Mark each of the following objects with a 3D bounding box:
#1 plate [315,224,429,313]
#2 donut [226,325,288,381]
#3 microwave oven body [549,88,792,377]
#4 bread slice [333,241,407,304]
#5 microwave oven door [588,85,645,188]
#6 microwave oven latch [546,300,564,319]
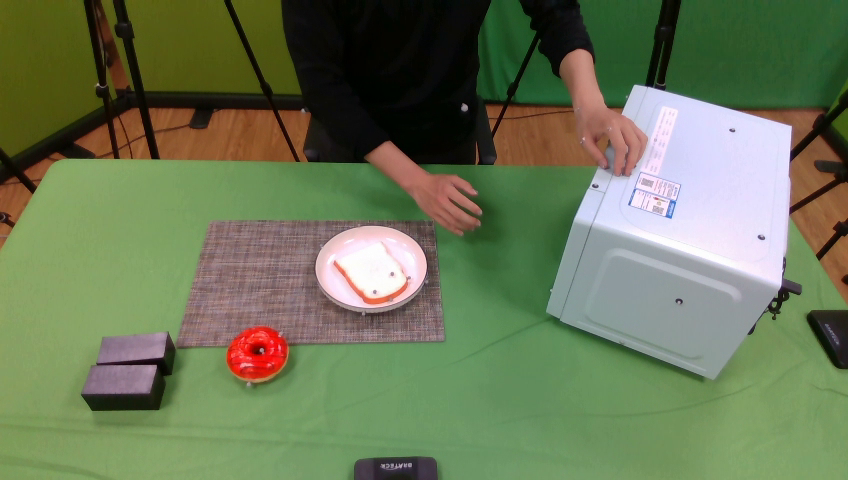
[{"bbox_3d":[-0.096,0.055,1.121,0.208,0.039,0.206,2,46,-2],"label":"plate"},{"bbox_3d":[-0.270,0.182,0.984,0.099,0.048,0.098,5,49,-5],"label":"donut"},{"bbox_3d":[0.456,-0.028,1.088,0.325,0.261,0.440,20,47,16],"label":"microwave oven body"},{"bbox_3d":[-0.092,0.060,1.117,0.105,0.019,0.130,-24,52,-24],"label":"bread slice"},{"bbox_3d":[0.342,-0.107,1.148,0.039,0.245,0.354,21,48,15],"label":"microwave oven door"},{"bbox_3d":[0.242,0.102,1.081,0.030,0.029,0.079,21,48,17],"label":"microwave oven latch"}]
